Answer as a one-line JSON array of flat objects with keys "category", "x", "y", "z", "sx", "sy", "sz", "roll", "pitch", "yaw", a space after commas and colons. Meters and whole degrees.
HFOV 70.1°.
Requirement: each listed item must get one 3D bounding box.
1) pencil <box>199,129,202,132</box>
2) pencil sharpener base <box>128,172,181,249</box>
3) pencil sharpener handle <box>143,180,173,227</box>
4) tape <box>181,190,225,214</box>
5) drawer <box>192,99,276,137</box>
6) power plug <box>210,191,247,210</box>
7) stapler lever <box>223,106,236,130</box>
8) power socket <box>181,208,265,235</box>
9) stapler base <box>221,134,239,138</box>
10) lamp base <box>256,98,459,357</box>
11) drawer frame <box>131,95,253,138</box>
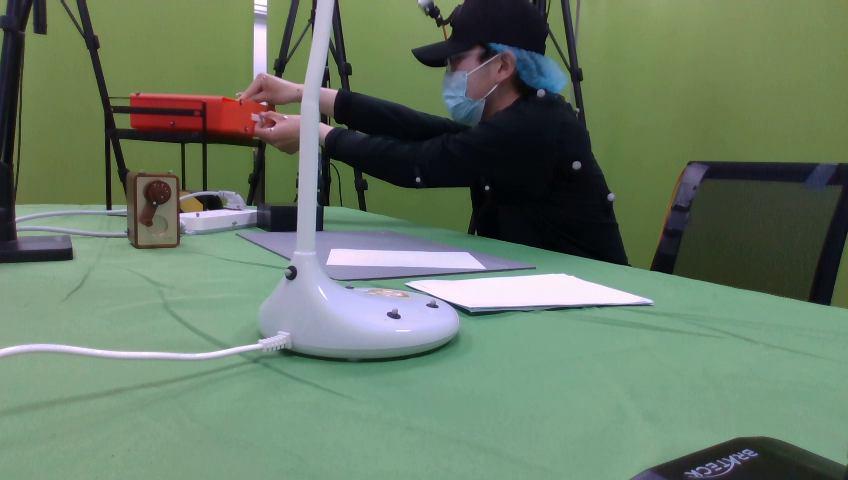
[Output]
[{"category": "pencil", "x": -0.504, "y": -0.251, "z": 1.360, "sx": 0.012, "sy": 0.012, "sz": 0.193, "roll": -1, "pitch": 13, "yaw": -22}, {"category": "pencil sharpener base", "x": -0.395, "y": -0.044, "z": 0.887, "sx": 0.062, "sy": 0.107, "sz": 0.076, "roll": -2, "pitch": 9, "yaw": -34}, {"category": "pencil sharpener handle", "x": -0.371, "y": -0.050, "z": 0.840, "sx": 0.036, "sy": 0.067, "sz": 0.030, "roll": 24, "pitch": -5, "yaw": -34}, {"category": "tape", "x": -0.515, "y": -0.087, "z": 1.389, "sx": 0.117, "sy": 0.052, "sz": 0.117, "roll": 3, "pitch": 7, "yaw": 0}, {"category": "drawer", "x": -0.470, "y": -0.276, "z": 1.375, "sx": 0.211, "sy": 0.073, "sz": 0.194, "roll": 2, "pitch": 8, "yaw": 8}, {"category": "power plug", "x": -0.386, "y": -0.071, "z": 1.204, "sx": 0.072, "sy": 0.052, "sz": 0.035, "roll": 7, "pitch": 8, "yaw": 26}, {"category": "stapler lever", "x": -0.444, "y": -0.276, "z": 1.379, "sx": 0.027, "sy": 0.040, "sz": 0.117, "roll": -1, "pitch": 2, "yaw": -17}, {"category": "power socket", "x": -0.381, "y": -0.038, "z": 1.129, "sx": 0.072, "sy": 0.032, "sz": 0.227, "roll": 4, "pitch": 8, "yaw": 17}, {"category": "stapler base", "x": -0.442, "y": -0.254, "z": 1.378, "sx": 0.041, "sy": 0.024, "sz": 0.130, "roll": -1, "pitch": -1, "yaw": -17}, {"category": "lamp base", "x": -0.055, "y": -0.013, "z": 0.463, "sx": 0.160, "sy": 0.180, "sz": 0.180, "roll": 6, "pitch": 11, "yaw": 27}, {"category": "drawer frame", "x": -0.510, "y": -0.280, "z": 1.379, "sx": 0.213, "sy": 0.082, "sz": 0.202, "roll": 3, "pitch": 8, "yaw": 6}]
